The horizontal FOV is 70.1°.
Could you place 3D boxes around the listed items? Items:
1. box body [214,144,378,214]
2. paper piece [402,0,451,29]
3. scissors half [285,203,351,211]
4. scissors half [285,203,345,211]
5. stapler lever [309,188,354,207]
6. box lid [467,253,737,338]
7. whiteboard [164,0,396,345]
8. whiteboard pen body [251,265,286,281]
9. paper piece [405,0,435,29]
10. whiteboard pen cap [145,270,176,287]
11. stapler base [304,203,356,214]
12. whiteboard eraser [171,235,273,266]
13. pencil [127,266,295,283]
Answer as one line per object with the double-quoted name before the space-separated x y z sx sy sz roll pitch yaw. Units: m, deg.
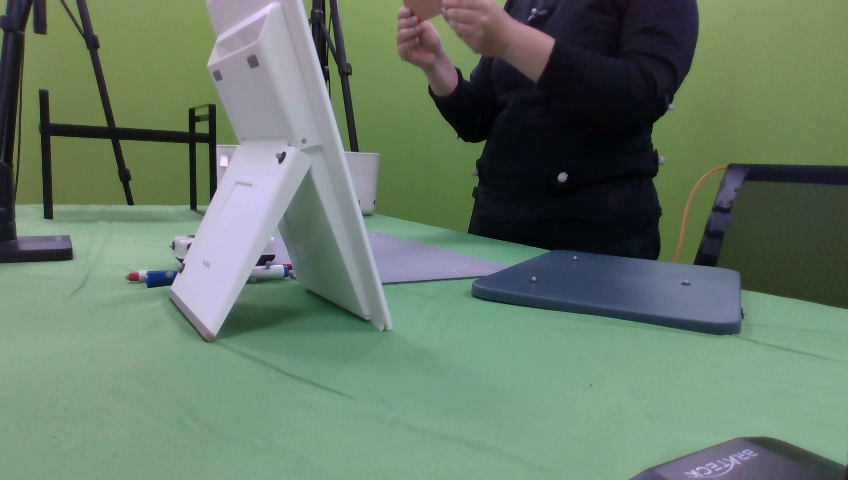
"box body" -0.328 -0.154 1.543 0.366 0.160 0.253 -2 9 -32
"paper piece" -0.009 -0.433 1.008 0.004 0.136 0.135 -26 17 -25
"scissors half" -0.269 -0.081 1.535 0.176 0.013 0.040 -7 10 -23
"scissors half" -0.280 -0.083 1.552 0.176 0.013 0.040 -10 6 -44
"stapler lever" -0.231 -0.106 1.509 0.119 0.040 0.026 3 9 -35
"box lid" 0.234 0.054 0.736 0.262 0.015 0.373 7 8 26
"whiteboard" -0.173 -0.053 0.511 0.144 0.305 0.216 -23 19 -26
"whiteboard pen body" -0.220 0.039 0.656 0.141 0.017 0.017 -2 9 -31
"paper piece" -0.025 -0.424 1.001 0.008 0.138 0.135 -25 19 -5
"whiteboard pen cap" -0.271 0.039 0.627 0.033 0.018 0.018 -3 10 -32
"stapler base" -0.235 -0.081 1.510 0.131 0.024 0.041 2 9 -35
"whiteboard eraser" -0.248 0.014 0.747 0.113 0.042 0.055 -1 10 -32
"pencil" -0.231 0.037 0.691 0.195 0.012 0.012 -2 9 -34
